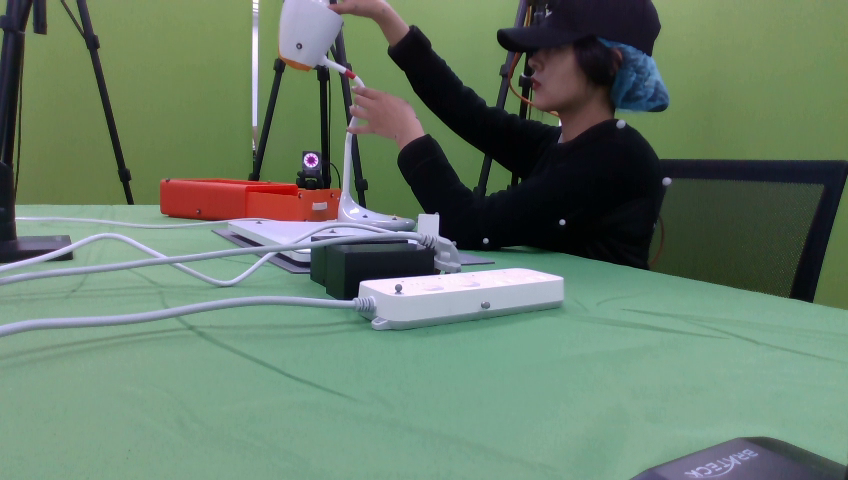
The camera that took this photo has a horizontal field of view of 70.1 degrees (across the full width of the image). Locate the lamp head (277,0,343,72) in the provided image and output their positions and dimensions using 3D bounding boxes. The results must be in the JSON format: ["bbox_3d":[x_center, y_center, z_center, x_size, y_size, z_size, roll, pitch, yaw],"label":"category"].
[{"bbox_3d":[-0.219,-0.375,1.125,0.112,0.123,0.112,17,10,-3],"label":"lamp head"}]

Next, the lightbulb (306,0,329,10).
[{"bbox_3d":[-0.213,-0.401,1.115,0.059,0.107,0.059,22,9,-3],"label":"lightbulb"}]

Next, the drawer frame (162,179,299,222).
[{"bbox_3d":[-0.418,-0.089,1.328,0.213,0.082,0.202,4,8,18],"label":"drawer frame"}]

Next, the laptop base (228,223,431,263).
[{"bbox_3d":[-0.145,0.003,0.942,0.237,0.023,0.352,2,6,-32],"label":"laptop base"}]

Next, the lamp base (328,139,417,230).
[{"bbox_3d":[-0.104,-0.113,1.212,0.180,0.180,0.160,-2,7,-15],"label":"lamp base"}]

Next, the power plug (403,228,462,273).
[{"bbox_3d":[0.006,0.016,0.647,0.073,0.052,0.035,17,12,-5],"label":"power plug"}]

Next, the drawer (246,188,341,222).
[{"bbox_3d":[-0.312,-0.078,1.296,0.211,0.073,0.195,4,9,17],"label":"drawer"}]

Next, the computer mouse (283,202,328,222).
[{"bbox_3d":[-0.251,-0.060,1.287,0.063,0.041,0.117,3,4,11],"label":"computer mouse"}]

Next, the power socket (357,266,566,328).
[{"bbox_3d":[0.042,0.049,0.573,0.228,0.032,0.072,-3,8,-34],"label":"power socket"}]

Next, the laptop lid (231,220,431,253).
[{"bbox_3d":[-0.142,-0.009,0.942,0.243,0.013,0.355,1,7,-31],"label":"laptop lid"}]

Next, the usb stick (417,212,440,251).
[{"bbox_3d":[0.005,-0.003,0.721,0.027,0.059,0.021,0,-3,-3],"label":"usb stick"}]
